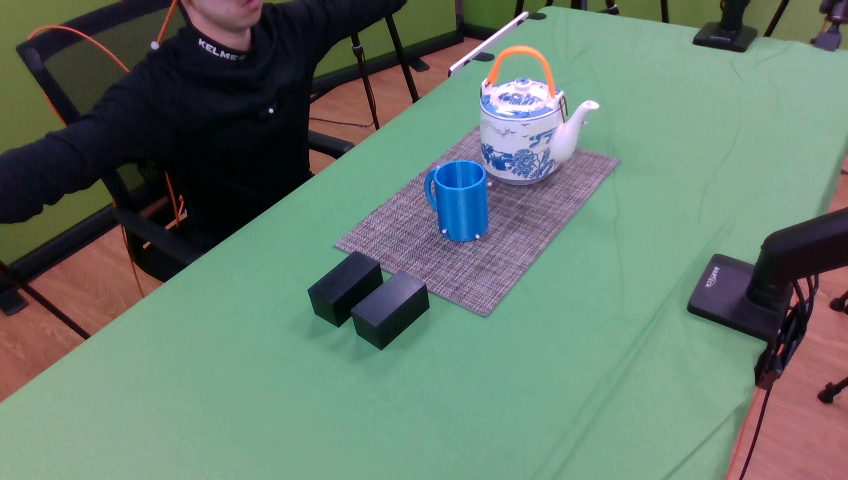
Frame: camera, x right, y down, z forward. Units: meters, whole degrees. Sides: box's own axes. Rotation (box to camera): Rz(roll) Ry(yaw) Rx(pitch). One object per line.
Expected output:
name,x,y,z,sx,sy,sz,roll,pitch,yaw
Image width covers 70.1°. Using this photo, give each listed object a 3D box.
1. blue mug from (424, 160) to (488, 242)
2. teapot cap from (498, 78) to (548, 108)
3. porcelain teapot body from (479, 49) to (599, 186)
blue mug,0.047,-0.067,0.970,0.115,0.106,0.082,22,49,30
teapot cap,0.165,-0.246,1.010,0.085,0.044,0.084,-4,44,5
porcelain teapot body,0.192,-0.208,1.023,0.204,0.226,0.145,16,46,25
